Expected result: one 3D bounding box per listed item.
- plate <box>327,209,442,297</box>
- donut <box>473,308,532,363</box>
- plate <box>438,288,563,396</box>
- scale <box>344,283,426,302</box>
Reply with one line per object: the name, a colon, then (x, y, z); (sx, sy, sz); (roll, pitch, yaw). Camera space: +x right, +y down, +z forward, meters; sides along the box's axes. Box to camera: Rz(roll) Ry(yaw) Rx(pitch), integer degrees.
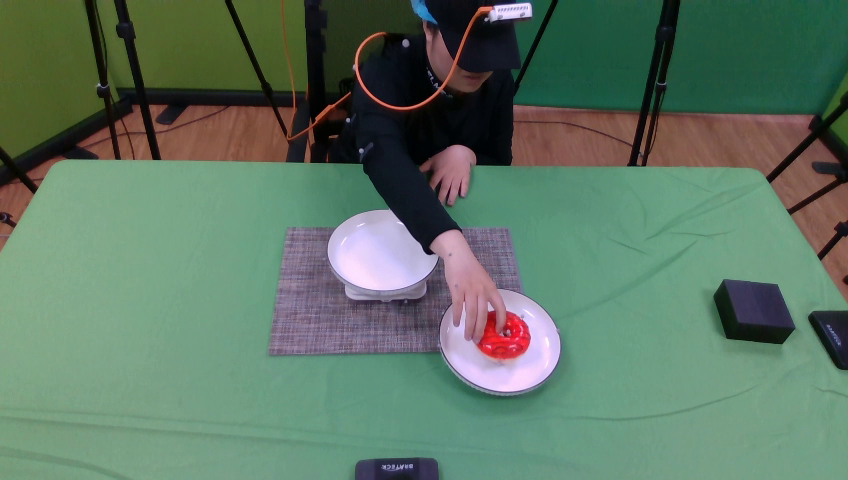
plate: (-0.071, 0.027, 1.109); (0.208, 0.039, 0.206); (2, 46, -1)
donut: (0.129, 0.157, 1.000); (0.099, 0.048, 0.098); (1, 47, -1)
plate: (0.128, 0.173, 1.025); (0.209, 0.038, 0.208); (3, 48, -3)
scale: (-0.075, 0.033, 1.149); (0.149, 0.032, 0.199); (0, 46, -5)
